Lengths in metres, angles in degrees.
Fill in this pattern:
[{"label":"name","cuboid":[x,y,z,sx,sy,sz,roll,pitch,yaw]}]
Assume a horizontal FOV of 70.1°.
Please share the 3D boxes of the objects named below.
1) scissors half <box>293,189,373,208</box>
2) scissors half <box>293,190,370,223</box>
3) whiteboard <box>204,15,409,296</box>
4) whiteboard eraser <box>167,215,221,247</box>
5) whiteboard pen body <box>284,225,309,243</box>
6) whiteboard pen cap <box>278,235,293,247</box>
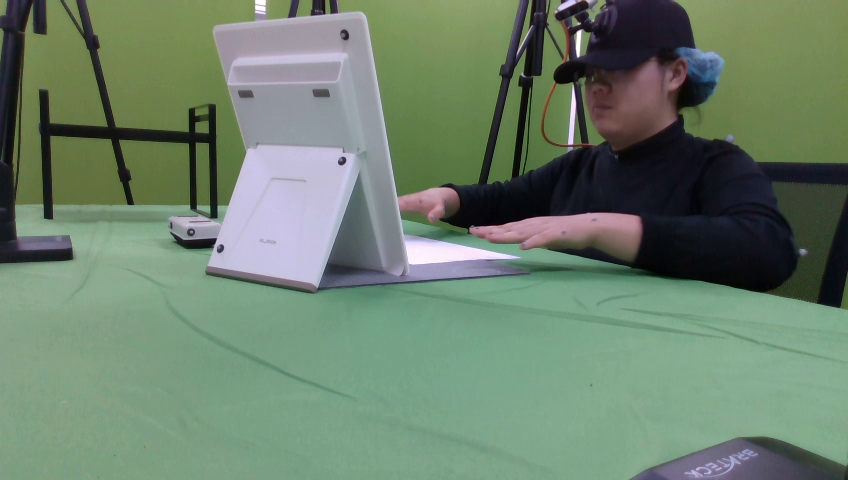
[{"label":"scissors half","cuboid":[-0.201,-0.097,1.333,0.175,0.040,0.013,5,18,-4]},{"label":"scissors half","cuboid":[-0.205,-0.078,1.338,0.175,0.040,0.013,22,11,-8]},{"label":"whiteboard","cuboid":[-0.166,-0.072,0.669,0.216,0.305,0.144,8,30,30]},{"label":"whiteboard eraser","cuboid":[-0.350,-0.014,0.920,0.056,0.042,0.112,0,7,-35]},{"label":"whiteboard pen body","cuboid":[-0.208,-0.008,0.985,0.017,0.017,0.141,3,9,1]},{"label":"whiteboard pen cap","cuboid":[-0.211,0.001,0.928,0.018,0.018,0.033,3,6,1]}]
